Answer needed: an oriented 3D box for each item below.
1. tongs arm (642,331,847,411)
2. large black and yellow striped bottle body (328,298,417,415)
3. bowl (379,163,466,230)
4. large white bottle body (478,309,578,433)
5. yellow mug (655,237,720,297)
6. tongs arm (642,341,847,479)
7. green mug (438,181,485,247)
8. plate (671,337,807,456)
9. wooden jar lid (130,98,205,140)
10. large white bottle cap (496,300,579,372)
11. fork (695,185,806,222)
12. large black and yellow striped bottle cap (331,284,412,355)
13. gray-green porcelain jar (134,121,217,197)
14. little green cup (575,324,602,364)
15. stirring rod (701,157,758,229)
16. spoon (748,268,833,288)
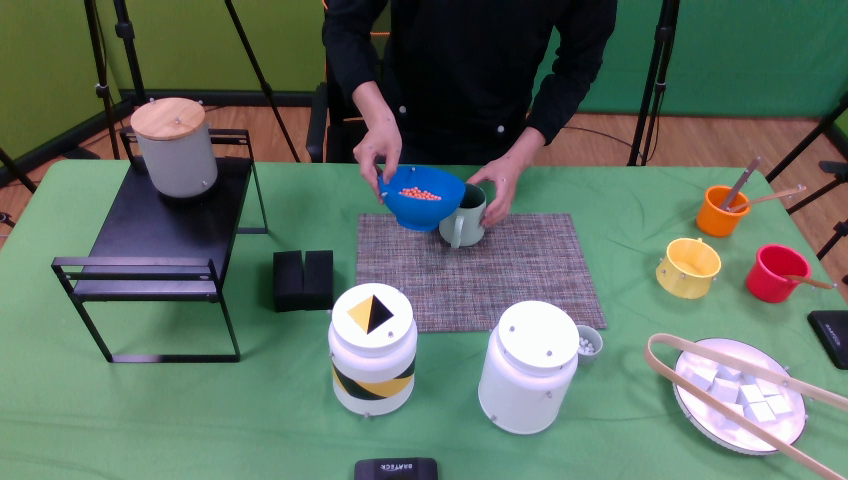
[{"bbox_3d":[0.546,0.227,0.968,0.384,0.026,0.050,22,52,13],"label":"tongs arm"},{"bbox_3d":[-0.078,0.167,0.920,0.131,0.185,0.130,2,46,-2],"label":"large black and yellow striped bottle body"},{"bbox_3d":[-0.007,-0.069,1.049,0.151,0.077,0.150,7,28,-4],"label":"bowl"},{"bbox_3d":[0.156,0.192,0.913,0.131,0.185,0.130,2,46,-2],"label":"large white bottle body"},{"bbox_3d":[0.509,0.041,1.167,0.099,0.064,0.130,24,48,18],"label":"yellow mug"},{"bbox_3d":[0.504,0.278,0.918,0.386,0.028,0.028,34,59,22],"label":"tongs arm"},{"bbox_3d":[0.071,-0.039,1.177,0.092,0.105,0.124,12,47,7],"label":"green mug"},{"bbox_3d":[0.503,0.254,0.984,0.208,0.039,0.206,2,46,-2],"label":"plate"},{"bbox_3d":[-0.393,-0.183,0.934,0.108,0.021,0.107,2,44,-2],"label":"wooden jar lid"},{"bbox_3d":[0.160,0.133,0.852,0.115,0.018,0.114,3,46,-3],"label":"large white bottle cap"},{"bbox_3d":[0.658,-0.074,1.230,0.207,0.019,0.028,-23,36,37],"label":"fork"},{"bbox_3d":[-0.073,0.110,0.858,0.115,0.019,0.114,2,46,-2],"label":"large black and yellow striped bottle cap"},{"bbox_3d":[-0.397,-0.141,0.979,0.106,0.127,0.105,2,47,-2],"label":"gray-green porcelain jar"},{"bbox_3d":[0.269,0.179,1.035,0.061,0.039,0.061,2,45,-2],"label":"little green cup"},{"bbox_3d":[0.634,-0.096,1.257,0.014,0.006,0.176,38,97,30],"label":"stirring rod"},{"bbox_3d":[0.660,0.068,1.097,0.041,0.193,0.021,-4,91,-6],"label":"spoon"}]
